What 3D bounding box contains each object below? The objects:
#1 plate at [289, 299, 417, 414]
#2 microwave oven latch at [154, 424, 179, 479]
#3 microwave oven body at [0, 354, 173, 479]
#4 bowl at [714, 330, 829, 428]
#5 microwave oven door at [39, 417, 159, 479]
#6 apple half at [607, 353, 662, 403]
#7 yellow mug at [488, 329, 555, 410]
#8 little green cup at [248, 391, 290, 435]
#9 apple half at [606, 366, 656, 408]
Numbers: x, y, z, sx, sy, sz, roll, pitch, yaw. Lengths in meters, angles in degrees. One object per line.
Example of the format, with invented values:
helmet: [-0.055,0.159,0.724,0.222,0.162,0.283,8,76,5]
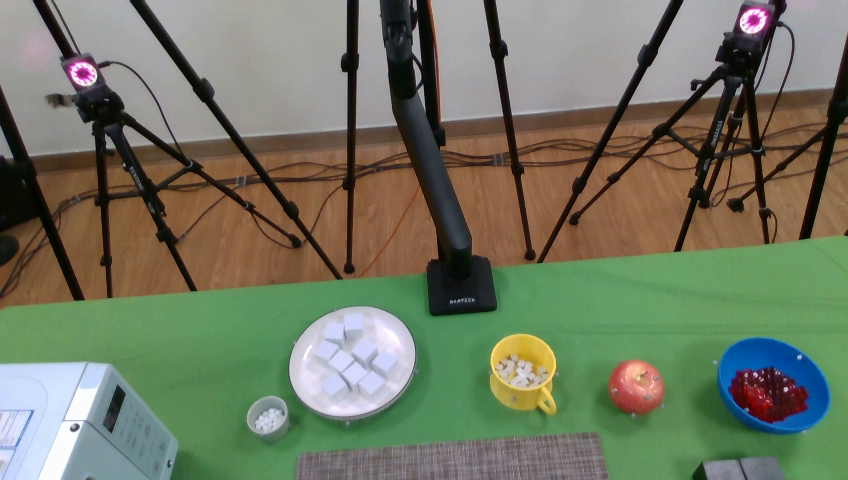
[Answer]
plate: [-0.114,0.191,0.993,0.207,0.039,0.205,-2,49,3]
microwave oven latch: [-0.382,0.311,0.885,0.030,0.030,0.078,-1,50,3]
microwave oven body: [-0.539,0.387,0.704,0.326,0.262,0.437,-2,50,2]
bowl: [0.500,0.217,0.896,0.151,0.077,0.150,-2,50,3]
microwave oven door: [-0.394,0.410,0.666,0.039,0.246,0.352,-2,49,3]
apple half: [0.325,0.207,0.923,0.080,0.075,0.053,28,53,29]
yellow mug: [0.160,0.208,0.940,0.100,0.064,0.129,-27,53,-18]
little green cup: [-0.236,0.269,0.933,0.061,0.039,0.061,-1,50,2]
apple half: [0.301,0.229,0.904,0.080,0.082,0.033,30,55,27]
